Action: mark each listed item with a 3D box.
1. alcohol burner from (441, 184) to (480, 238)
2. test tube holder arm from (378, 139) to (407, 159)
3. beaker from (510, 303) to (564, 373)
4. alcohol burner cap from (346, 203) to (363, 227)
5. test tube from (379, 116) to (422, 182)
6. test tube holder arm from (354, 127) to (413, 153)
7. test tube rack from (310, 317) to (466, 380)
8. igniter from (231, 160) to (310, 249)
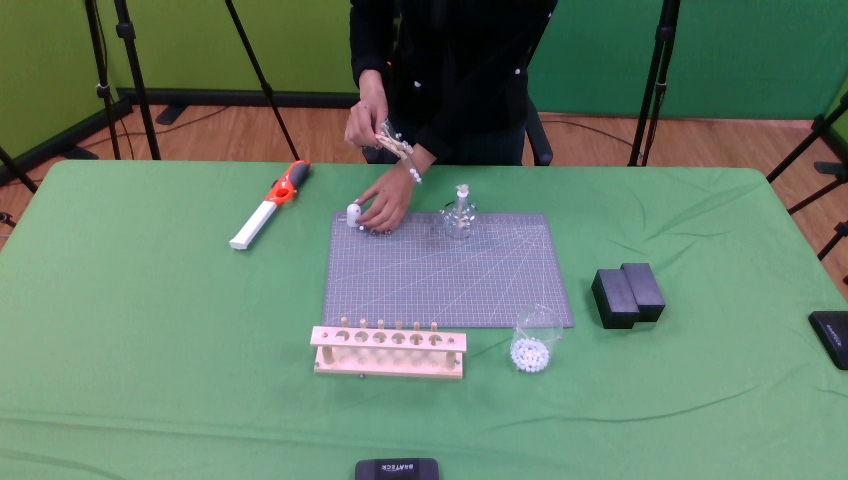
[{"bbox_3d":[0.073,-0.061,1.195,0.078,0.120,0.077,1,47,0],"label":"alcohol burner"},{"bbox_3d":[-0.056,-0.162,1.061,0.010,0.015,0.087,-41,39,-7],"label":"test tube holder arm"},{"bbox_3d":[0.182,0.164,1.000,0.074,0.101,0.083,2,46,-1],"label":"beaker"},{"bbox_3d":[-0.141,-0.054,1.222,0.034,0.048,0.033,1,48,-1],"label":"alcohol burner cap"},{"bbox_3d":[-0.039,-0.154,1.048,0.017,0.151,0.017,-16,46,18],"label":"test tube"},{"bbox_3d":[-0.077,-0.182,1.096,0.013,0.015,0.177,-45,40,-14],"label":"test tube holder arm"},{"bbox_3d":[-0.056,0.171,0.986,0.242,0.085,0.066,3,45,-1],"label":"test tube rack"},{"bbox_3d":[-0.311,-0.081,1.250,0.057,0.025,0.275,9,45,18],"label":"igniter"}]
